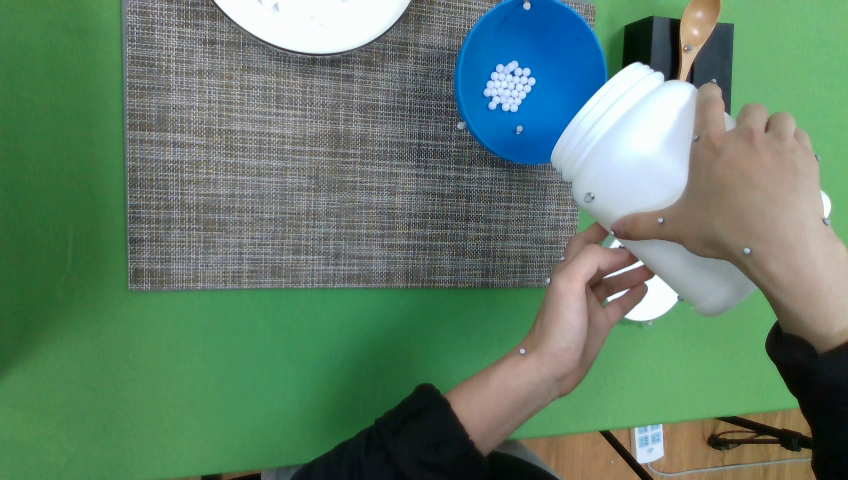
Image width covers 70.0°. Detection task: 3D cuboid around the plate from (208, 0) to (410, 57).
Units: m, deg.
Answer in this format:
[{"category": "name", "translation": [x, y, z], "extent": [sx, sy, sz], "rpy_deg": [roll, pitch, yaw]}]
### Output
[{"category": "plate", "translation": [-0.105, -0.264, 0.533], "extent": [0.210, 0.038, 0.209], "rpy_deg": [-1, 95, -17]}]

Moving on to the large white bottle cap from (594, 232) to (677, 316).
[{"category": "large white bottle cap", "translation": [0.249, 0.032, 0.696], "extent": [0.115, 0.018, 0.115], "rpy_deg": [-3, 99, -17]}]

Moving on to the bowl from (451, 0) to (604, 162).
[{"category": "bowl", "translation": [0.088, -0.151, 0.586], "extent": [0.152, 0.076, 0.151], "rpy_deg": [-2, 98, -16]}]

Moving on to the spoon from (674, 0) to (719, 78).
[{"category": "spoon", "translation": [0.256, -0.158, 0.622], "extent": [0.042, 0.021, 0.194], "rpy_deg": [13, 99, -21]}]

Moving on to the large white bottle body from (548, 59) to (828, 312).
[{"category": "large white bottle body", "translation": [0.204, -0.047, 0.494], "extent": [0.130, 0.131, 0.183], "rpy_deg": [-42, 75, -8]}]
